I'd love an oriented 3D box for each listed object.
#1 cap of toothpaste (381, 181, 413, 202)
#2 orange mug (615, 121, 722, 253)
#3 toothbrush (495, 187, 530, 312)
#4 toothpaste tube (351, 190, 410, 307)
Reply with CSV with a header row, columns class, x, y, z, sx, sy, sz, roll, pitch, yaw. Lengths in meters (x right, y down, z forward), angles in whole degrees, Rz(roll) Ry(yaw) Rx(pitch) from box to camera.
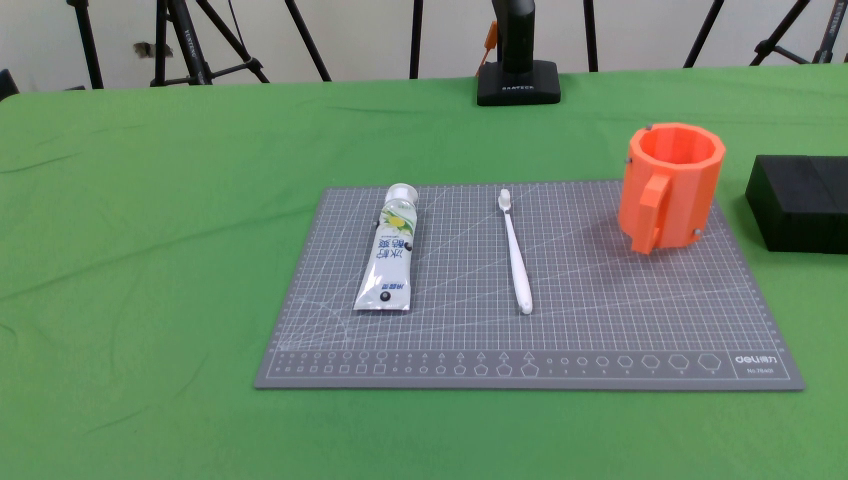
class,x,y,z,sx,sy,sz,roll,pitch,yaw
cap of toothpaste,-0.031,-0.051,0.680,0.037,0.038,0.011,2,47,8
orange mug,0.234,-0.048,0.600,0.083,0.102,0.126,19,42,27
toothbrush,0.090,0.004,0.620,0.014,0.017,0.180,5,41,-7
toothpaste tube,-0.038,0.004,0.627,0.055,0.035,0.163,-4,44,9
